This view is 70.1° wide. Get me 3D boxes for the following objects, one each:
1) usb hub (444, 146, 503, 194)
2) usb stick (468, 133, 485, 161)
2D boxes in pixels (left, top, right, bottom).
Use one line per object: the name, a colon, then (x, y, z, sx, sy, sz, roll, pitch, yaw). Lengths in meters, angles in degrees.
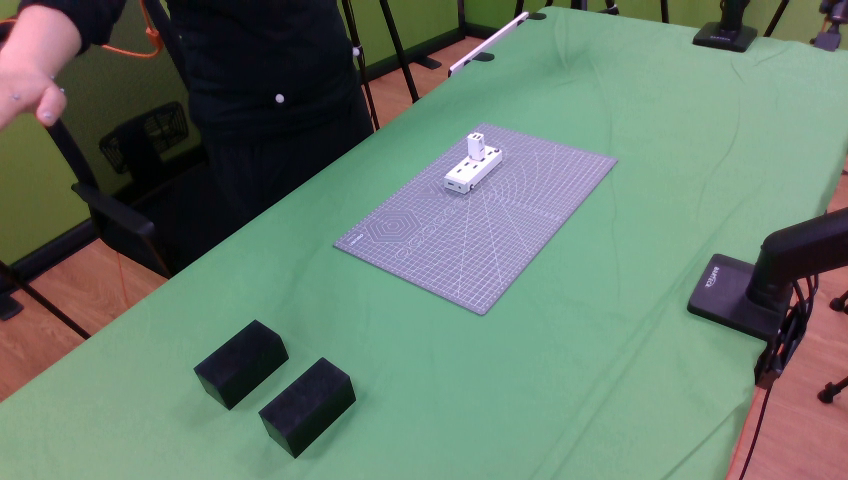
usb hub: (0.091, -0.129, 1.102, 0.049, 0.025, 0.125, 23, 49, 30)
usb stick: (0.095, -0.162, 1.096, 0.027, 0.059, 0.021, 21, 48, 27)
